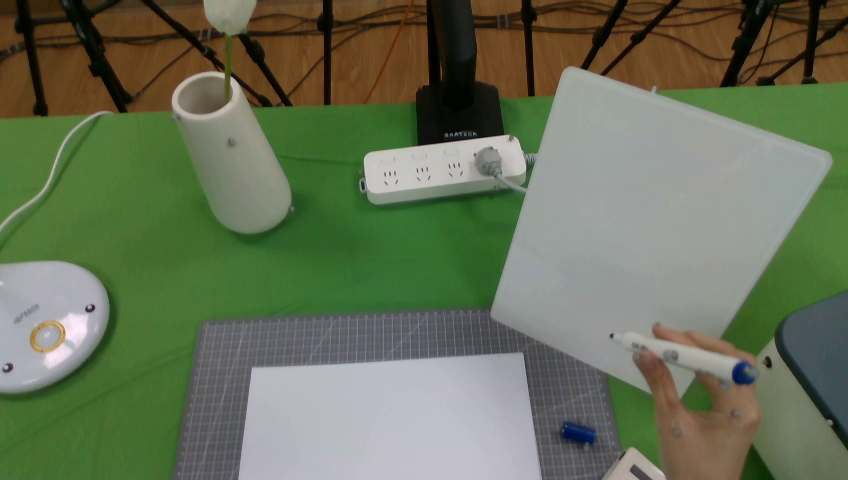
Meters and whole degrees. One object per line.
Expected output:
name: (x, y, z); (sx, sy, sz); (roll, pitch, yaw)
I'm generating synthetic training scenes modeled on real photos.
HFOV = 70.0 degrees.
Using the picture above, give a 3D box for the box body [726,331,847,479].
box body: (0.476, 0.211, 0.513); (0.254, 0.162, 0.360); (-19, 59, -10)

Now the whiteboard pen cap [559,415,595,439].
whiteboard pen cap: (0.156, 0.191, 0.616); (0.033, 0.018, 0.018); (14, 59, 7)

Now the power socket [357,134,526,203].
power socket: (0.024, -0.094, 0.793); (0.227, 0.033, 0.071); (-7, 59, -4)

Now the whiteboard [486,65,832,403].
whiteboard: (0.219, -0.021, 0.618); (0.216, 0.308, 0.143); (24, 40, 17)

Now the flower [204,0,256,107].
flower: (-0.204, -0.133, 0.627); (0.038, 0.363, 0.044); (45, 59, 7)

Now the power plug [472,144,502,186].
power plug: (0.078, -0.088, 0.762); (0.035, 0.053, 0.072); (2, 64, 2)

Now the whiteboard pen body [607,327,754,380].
whiteboard pen body: (0.173, 0.076, 0.429); (0.017, 0.140, 0.017); (-1, 92, -18)

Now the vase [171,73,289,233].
vase: (-0.222, -0.094, 0.700); (0.098, 0.202, 0.097); (-1, 57, 2)

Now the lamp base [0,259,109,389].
lamp base: (-0.454, 0.045, 0.627); (0.178, 0.182, 0.160); (25, 61, 20)

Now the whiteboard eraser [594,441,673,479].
whiteboard eraser: (0.178, 0.247, 0.565); (0.055, 0.042, 0.112); (38, 66, 23)

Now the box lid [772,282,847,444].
box lid: (0.473, 0.168, 0.451); (0.263, 0.015, 0.367); (-19, 59, -10)
